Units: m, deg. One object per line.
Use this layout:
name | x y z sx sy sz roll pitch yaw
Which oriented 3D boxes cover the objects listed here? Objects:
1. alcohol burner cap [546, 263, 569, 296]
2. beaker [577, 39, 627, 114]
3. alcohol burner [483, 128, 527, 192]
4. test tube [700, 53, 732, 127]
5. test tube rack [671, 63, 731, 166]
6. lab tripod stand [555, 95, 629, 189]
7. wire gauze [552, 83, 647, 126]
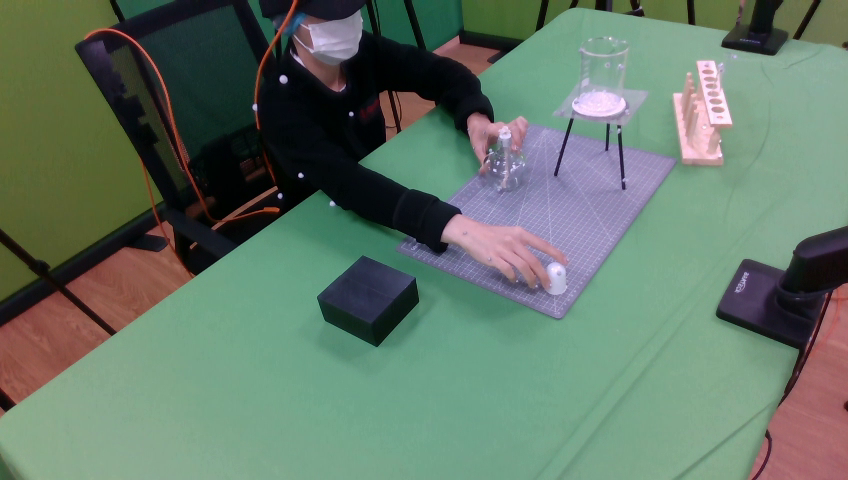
alcohol burner cap | 0.191 0.053 0.862 0.034 0.048 0.033 -5 41 4
beaker | 0.286 -0.264 0.976 0.073 0.100 0.084 25 49 33
alcohol burner | 0.141 -0.144 1.050 0.078 0.119 0.077 -4 42 4
test tube | 0.521 -0.265 1.081 0.017 0.151 0.017 -3 47 3
test tube rack | 0.513 -0.241 1.132 0.066 0.085 0.242 4 41 14
lab tripod stand | 0.300 -0.174 1.045 0.148 0.132 0.147 -5 38 5
wire gauze | 0.293 -0.224 1.004 0.120 0.011 0.125 19 43 26
